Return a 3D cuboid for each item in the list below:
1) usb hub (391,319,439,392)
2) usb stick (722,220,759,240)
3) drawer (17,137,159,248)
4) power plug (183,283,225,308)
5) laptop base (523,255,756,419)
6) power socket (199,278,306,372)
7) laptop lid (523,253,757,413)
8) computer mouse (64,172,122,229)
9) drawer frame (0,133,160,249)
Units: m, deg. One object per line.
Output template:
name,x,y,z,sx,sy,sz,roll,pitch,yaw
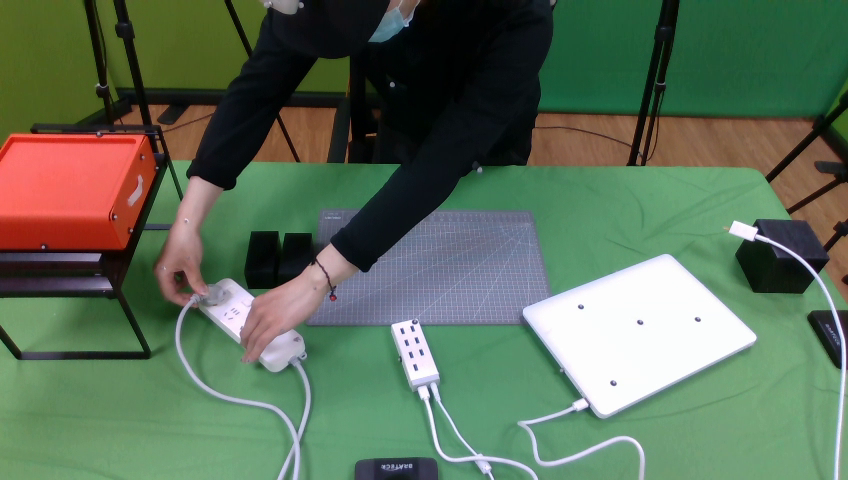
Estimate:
usb hub,-0.016,0.190,1.013,0.049,0.025,0.124,-10,48,-15
usb stick,0.593,-0.021,1.139,0.059,0.027,0.021,22,12,28
drawer,-0.549,-0.079,0.944,0.212,0.073,0.193,0,47,-3
power plug,-0.373,0.100,1.026,0.072,0.053,0.035,-32,52,-25
laptop base,0.381,0.157,1.080,0.355,0.023,0.234,-18,48,-21
power socket,-0.297,0.141,1.034,0.225,0.033,0.072,34,53,24
laptop lid,0.381,0.147,1.073,0.357,0.013,0.240,-17,48,-19
computer mouse,-0.521,-0.067,0.955,0.063,0.041,0.116,0,48,-9
drawer frame,-0.552,-0.078,0.942,0.214,0.083,0.200,-1,47,-4
